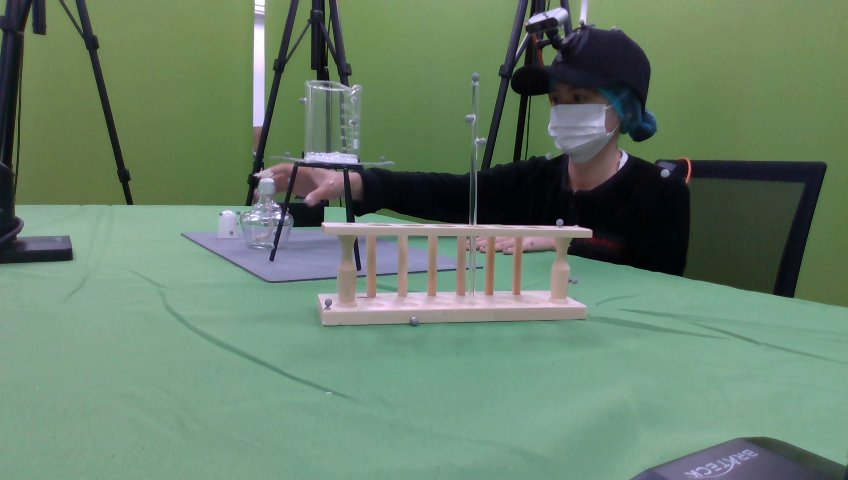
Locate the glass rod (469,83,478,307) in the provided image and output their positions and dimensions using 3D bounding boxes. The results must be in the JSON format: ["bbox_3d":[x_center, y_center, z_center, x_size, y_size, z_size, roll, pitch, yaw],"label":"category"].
[{"bbox_3d":[0.043,-0.033,0.523,0.008,0.199,0.008,-1,14,1],"label":"glass rod"}]

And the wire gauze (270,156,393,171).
[{"bbox_3d":[-0.122,-0.100,0.786,0.122,0.011,0.124,-5,14,-38],"label":"wire gauze"}]

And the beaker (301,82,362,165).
[{"bbox_3d":[-0.117,-0.147,0.776,0.074,0.100,0.083,-3,10,-38],"label":"beaker"}]

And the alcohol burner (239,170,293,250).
[{"bbox_3d":[-0.237,-0.045,0.904,0.078,0.119,0.078,1,9,0],"label":"alcohol burner"}]

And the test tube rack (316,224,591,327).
[{"bbox_3d":[0.026,0.028,0.555,0.243,0.085,0.066,1,7,-14],"label":"test tube rack"}]

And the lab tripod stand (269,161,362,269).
[{"bbox_3d":[-0.125,-0.036,0.794,0.148,0.131,0.148,5,7,0],"label":"lab tripod stand"}]

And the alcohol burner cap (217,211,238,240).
[{"bbox_3d":[-0.323,-0.024,0.994,0.034,0.048,0.034,3,8,0],"label":"alcohol burner cap"}]
